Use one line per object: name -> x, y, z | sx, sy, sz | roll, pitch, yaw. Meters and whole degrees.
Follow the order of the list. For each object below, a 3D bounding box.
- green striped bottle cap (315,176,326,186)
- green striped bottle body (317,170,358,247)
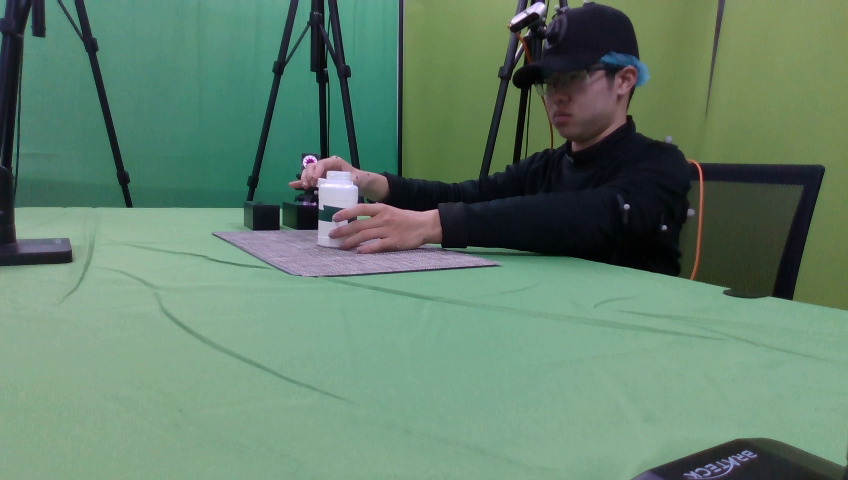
green striped bottle cap -> -0.174, -0.102, 1.090 | 0.044, 0.020, 0.044 | 11, 4, -1
green striped bottle body -> -0.138, -0.051, 0.964 | 0.063, 0.119, 0.063 | 2, 8, 0
